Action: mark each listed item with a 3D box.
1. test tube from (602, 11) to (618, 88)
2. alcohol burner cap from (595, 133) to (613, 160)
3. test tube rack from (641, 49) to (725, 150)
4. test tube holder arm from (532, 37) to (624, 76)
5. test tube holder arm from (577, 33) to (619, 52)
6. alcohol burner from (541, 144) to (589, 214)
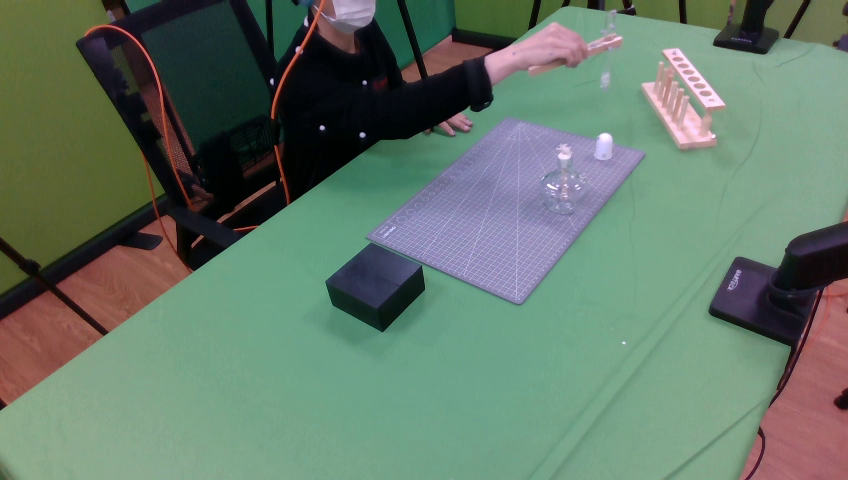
[{"bbox_3d":[0.324,-0.329,1.057,0.017,0.151,0.017,-5,50,7],"label":"test tube"},{"bbox_3d":[0.330,-0.172,1.105,0.034,0.048,0.033,-5,41,5],"label":"alcohol burner cap"},{"bbox_3d":[0.495,-0.279,1.175,0.067,0.085,0.241,-5,41,3],"label":"test tube rack"},{"bbox_3d":[0.262,-0.312,1.024,0.179,0.015,0.013,-23,49,-13],"label":"test tube holder arm"},{"bbox_3d":[0.299,-0.334,1.039,0.088,0.015,0.010,-29,51,-18],"label":"test tube holder arm"},{"bbox_3d":[0.229,-0.102,0.983,0.078,0.119,0.077,-6,40,5],"label":"alcohol burner"}]
